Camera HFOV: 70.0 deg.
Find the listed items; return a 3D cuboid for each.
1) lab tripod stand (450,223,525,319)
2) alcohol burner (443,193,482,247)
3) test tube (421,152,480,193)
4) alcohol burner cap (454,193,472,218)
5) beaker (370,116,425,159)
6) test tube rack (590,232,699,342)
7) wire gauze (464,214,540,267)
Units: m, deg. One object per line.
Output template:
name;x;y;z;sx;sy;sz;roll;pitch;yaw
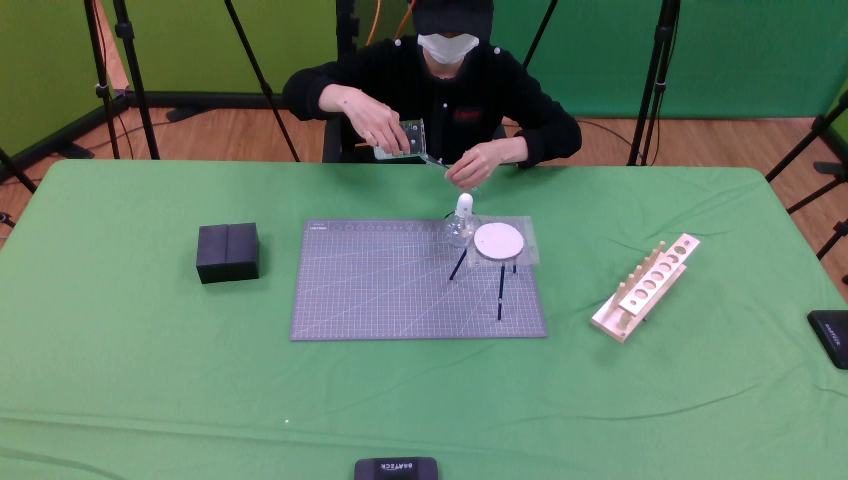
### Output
lab tripod stand;0.120;0.046;1.080;0.148;0.132;0.147;1;47;-1
alcohol burner;0.075;-0.044;1.177;0.078;0.120;0.077;1;44;-1
test tube;0.055;-0.136;1.229;0.151;0.017;0.017;30;39;-27
alcohol burner cap;0.076;-0.068;1.151;0.034;0.048;0.033;4;47;-4
beaker;-0.051;-0.193;1.170;0.100;0.084;0.073;-6;38;-2
test tube rack;0.407;0.074;1.112;0.066;0.085;0.242;35;53;26
wire gauze;0.131;-0.002;1.034;0.121;0.011;0.124;1;45;-2
